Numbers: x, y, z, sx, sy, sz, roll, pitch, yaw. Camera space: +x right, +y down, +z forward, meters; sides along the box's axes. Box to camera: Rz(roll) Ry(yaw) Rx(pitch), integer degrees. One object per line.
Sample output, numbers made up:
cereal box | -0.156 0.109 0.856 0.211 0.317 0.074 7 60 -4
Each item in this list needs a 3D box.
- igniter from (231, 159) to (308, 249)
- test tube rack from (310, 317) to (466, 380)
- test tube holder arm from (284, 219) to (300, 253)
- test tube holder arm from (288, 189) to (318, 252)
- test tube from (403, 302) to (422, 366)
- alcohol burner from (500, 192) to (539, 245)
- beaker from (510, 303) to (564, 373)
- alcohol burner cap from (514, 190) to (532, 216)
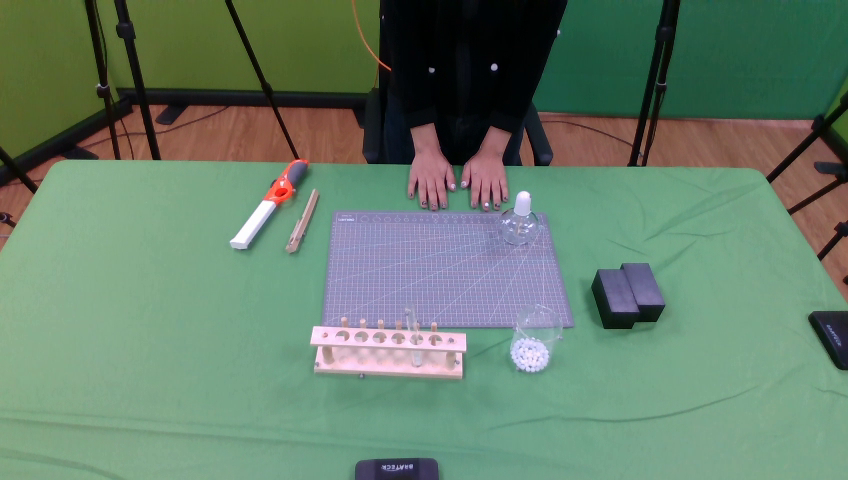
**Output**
igniter | -0.313 -0.082 1.251 0.057 0.025 0.275 8 45 18
test tube rack | -0.056 0.171 0.987 0.242 0.085 0.066 3 45 -1
test tube holder arm | -0.254 -0.010 1.194 0.010 0.015 0.087 -15 39 26
test tube holder arm | -0.242 -0.043 1.223 0.013 0.015 0.177 -15 39 25
test tube | -0.017 0.149 0.941 0.017 0.151 0.017 -3 44 3
alcohol burner | 0.190 -0.048 1.190 0.078 0.120 0.077 1 47 -1
beaker | 0.182 0.164 1.000 0.074 0.101 0.083 2 46 -1
alcohol burner cap | 0.192 -0.074 1.166 0.034 0.048 0.033 1 41 -1
